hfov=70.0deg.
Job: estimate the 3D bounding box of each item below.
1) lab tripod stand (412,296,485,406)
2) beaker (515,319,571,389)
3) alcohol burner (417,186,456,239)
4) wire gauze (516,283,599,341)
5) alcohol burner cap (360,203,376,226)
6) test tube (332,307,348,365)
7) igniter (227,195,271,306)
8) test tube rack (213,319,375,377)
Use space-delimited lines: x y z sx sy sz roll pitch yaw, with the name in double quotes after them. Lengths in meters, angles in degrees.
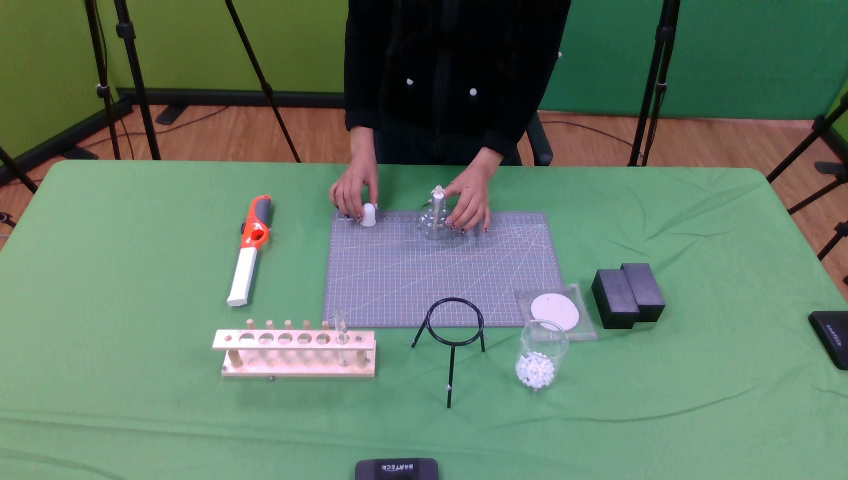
0.045 0.168 0.963 0.148 0.132 0.147 3 47 -3 "lab tripod stand"
0.186 0.186 0.980 0.074 0.101 0.083 -23 51 -24 "beaker"
0.026 -0.059 1.189 0.078 0.120 0.077 1 47 -1 "alcohol burner"
0.240 0.131 1.094 0.125 0.011 0.120 -3 47 -8 "wire gauze"
-0.114 -0.055 1.224 0.034 0.048 0.033 3 48 -3 "alcohol burner cap"
-0.128 0.151 0.931 0.017 0.151 0.017 1 50 -2 "test tube"
-0.332 0.011 1.160 0.057 0.025 0.274 -6 46 5 "igniter"
-0.202 0.170 0.977 0.242 0.085 0.066 1 46 -3 "test tube rack"
